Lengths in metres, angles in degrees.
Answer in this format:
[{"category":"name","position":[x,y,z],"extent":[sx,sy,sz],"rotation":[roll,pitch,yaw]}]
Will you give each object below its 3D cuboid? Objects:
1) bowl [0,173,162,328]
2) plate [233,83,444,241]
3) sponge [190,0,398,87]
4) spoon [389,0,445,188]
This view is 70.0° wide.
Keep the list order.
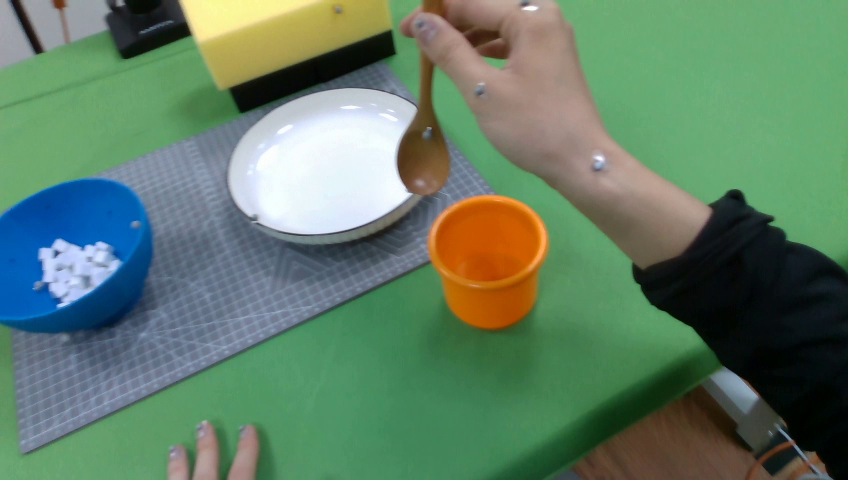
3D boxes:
[{"category":"bowl","position":[-0.293,0.021,0.529],"extent":[0.151,0.077,0.150],"rotation":[-4,51,6]},{"category":"plate","position":[-0.082,-0.077,0.602],"extent":[0.209,0.038,0.207],"rotation":[-4,52,5]},{"category":"sponge","position":[-0.147,-0.261,0.683],"extent":[0.207,0.061,0.117],"rotation":[-24,53,-11]},{"category":"spoon","position":[-0.001,-0.103,0.372],"extent":[0.041,0.195,0.021],"rotation":[19,56,10]}]
